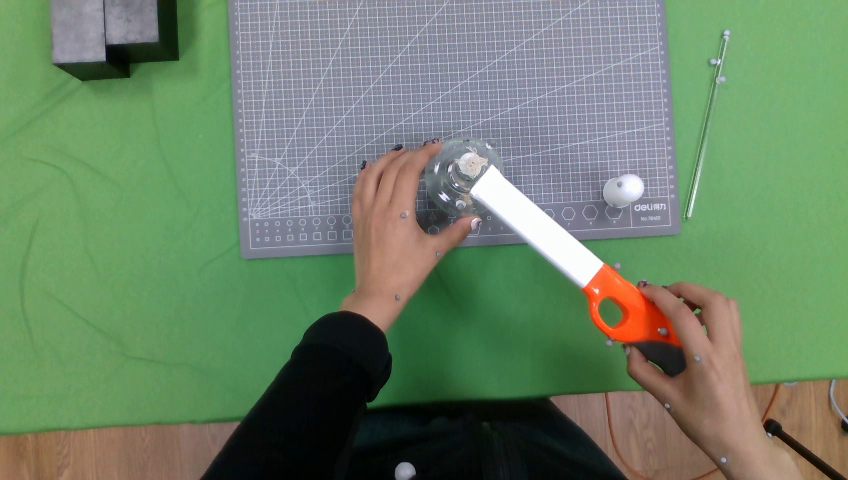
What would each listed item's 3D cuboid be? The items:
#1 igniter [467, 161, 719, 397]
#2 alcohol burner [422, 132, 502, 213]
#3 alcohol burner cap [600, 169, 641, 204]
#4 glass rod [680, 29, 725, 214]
[{"bbox_3d":[0.149,0.035,0.521,0.277,0.025,0.057,41,86,-3],"label":"igniter"},{"bbox_3d":[0.037,-0.067,0.566,0.078,0.119,0.077,0,86,-2],"label":"alcohol burner"},{"bbox_3d":[0.199,-0.055,0.607,0.034,0.048,0.034,0,87,-1],"label":"alcohol burner cap"},{"bbox_3d":[0.290,-0.124,0.632,0.008,0.008,0.199,13,88,-2],"label":"glass rod"}]
